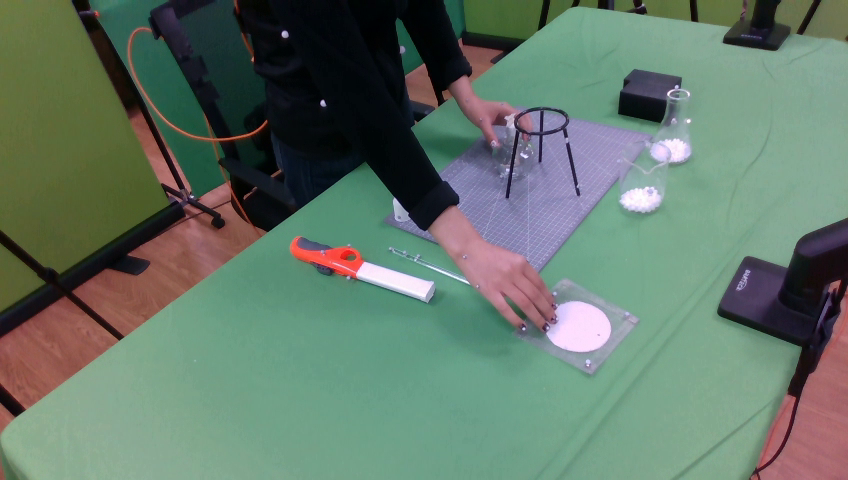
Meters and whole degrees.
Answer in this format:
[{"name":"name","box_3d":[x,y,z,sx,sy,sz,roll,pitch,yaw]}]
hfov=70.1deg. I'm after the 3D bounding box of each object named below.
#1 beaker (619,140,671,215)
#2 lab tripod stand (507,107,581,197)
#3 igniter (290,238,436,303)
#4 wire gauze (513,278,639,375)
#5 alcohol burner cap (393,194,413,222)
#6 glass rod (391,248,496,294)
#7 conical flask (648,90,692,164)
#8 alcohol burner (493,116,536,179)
[{"name":"beaker","box_3d":[0.352,-0.096,0.971,0.074,0.101,0.084,1,42,13]},{"name":"lab tripod stand","box_3d":[0.201,-0.151,1.033,0.148,0.132,0.147,-7,39,6]},{"name":"igniter","box_3d":[-0.106,0.043,0.949,0.274,0.025,0.057,16,57,28]},{"name":"wire gauze","box_3d":[0.206,0.115,0.817,0.120,0.011,0.125,29,56,34]},{"name":"alcohol burner cap","box_3d":[-0.038,-0.056,1.038,0.034,0.048,0.033,-6,41,5]},{"name":"glass rod","box_3d":[0.026,0.045,0.936,0.198,0.008,0.008,21,49,31]},{"name":"conical flask","box_3d":[0.437,-0.199,1.057,0.075,0.122,0.075,-5,40,5]},{"name":"alcohol burner","box_3d":[0.161,-0.169,1.078,0.078,0.119,0.077,-5,42,5]}]
